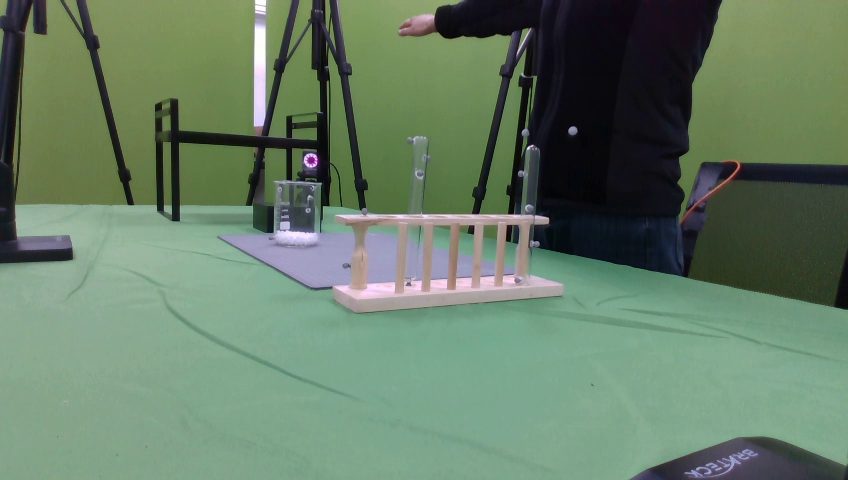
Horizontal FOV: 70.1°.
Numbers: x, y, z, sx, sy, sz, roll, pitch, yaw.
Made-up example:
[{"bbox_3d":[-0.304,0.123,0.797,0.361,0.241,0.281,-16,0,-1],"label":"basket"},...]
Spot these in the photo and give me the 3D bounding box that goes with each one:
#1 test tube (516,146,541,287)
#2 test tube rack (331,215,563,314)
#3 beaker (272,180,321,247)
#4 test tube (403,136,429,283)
[{"bbox_3d":[0.110,-0.024,0.638,0.017,0.150,0.017,3,6,0],"label":"test tube"},{"bbox_3d":[0.031,0.019,0.625,0.243,0.085,0.066,-1,8,-28],"label":"test tube rack"},{"bbox_3d":[-0.197,-0.042,0.944,0.073,0.100,0.084,7,8,29],"label":"beaker"},{"bbox_3d":[-0.009,-0.031,0.617,0.017,0.150,0.017,5,2,0],"label":"test tube"}]
